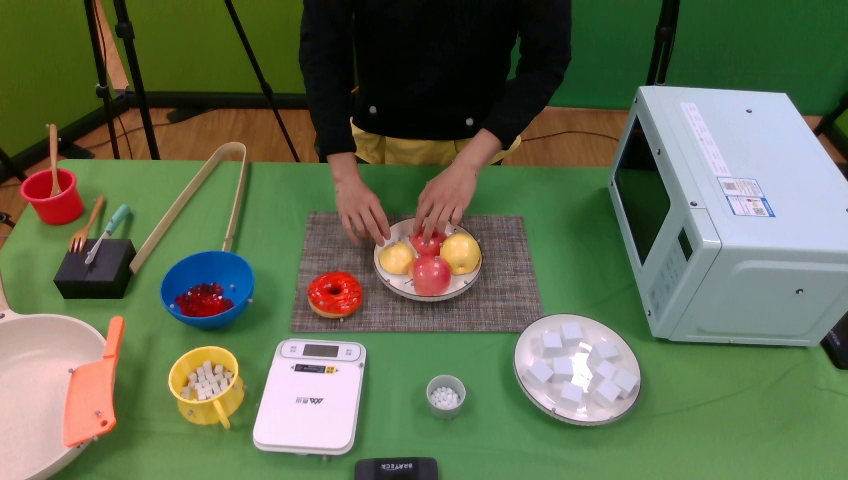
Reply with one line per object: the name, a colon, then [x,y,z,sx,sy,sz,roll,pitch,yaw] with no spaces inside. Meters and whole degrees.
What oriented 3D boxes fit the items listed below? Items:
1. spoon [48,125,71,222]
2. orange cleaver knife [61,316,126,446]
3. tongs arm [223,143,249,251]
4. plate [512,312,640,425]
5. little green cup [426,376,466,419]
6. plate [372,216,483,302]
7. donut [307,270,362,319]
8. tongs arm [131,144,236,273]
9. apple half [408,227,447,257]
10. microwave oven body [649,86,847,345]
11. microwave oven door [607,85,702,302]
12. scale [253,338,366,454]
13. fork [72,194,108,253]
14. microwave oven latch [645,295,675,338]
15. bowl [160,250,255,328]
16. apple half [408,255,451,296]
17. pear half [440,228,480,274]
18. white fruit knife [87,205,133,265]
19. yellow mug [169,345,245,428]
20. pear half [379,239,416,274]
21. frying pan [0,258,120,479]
spoon: [-0.718,-0.131,1.188,0.041,0.021,0.193,-3,90,-7]
orange cleaver knife: [-0.480,0.199,0.888,0.077,0.012,0.210,-8,46,-9]
tongs arm: [-0.397,-0.073,1.232,0.051,0.026,0.382,-2,45,0]
plate: [0.246,0.213,0.999,0.208,0.039,0.206,2,46,-2]
little green cup: [0.033,0.248,0.950,0.061,0.039,0.061,2,46,-2]
plate: [0.006,0.038,1.145,0.209,0.038,0.208,2,46,-2]
donut: [-0.158,0.097,1.073,0.099,0.048,0.098,4,45,-4]
tongs arm: [-0.483,-0.078,1.235,0.028,0.028,0.385,6,45,13]
apple half: [0.011,-0.005,1.176,0.081,0.033,0.081,2,48,-2]
microwave oven body: [0.567,-0.053,1.118,0.326,0.261,0.439,2,45,-1]
microwave oven door: [0.423,-0.094,1.140,0.039,0.245,0.353,2,46,-1]
scale: [-0.175,0.236,0.951,0.149,0.032,0.199,4,45,-1]
fork: [-0.634,-0.036,1.158,0.028,0.019,0.206,-8,31,-8]
microwave oven latch: [0.411,0.134,1.061,0.030,0.029,0.078,3,45,0]
bowl: [-0.362,0.098,1.040,0.151,0.077,0.150,2,45,-2]
apple half: [0.012,0.058,1.103,0.075,0.053,0.080,-6,43,-13]
pear half: [0.065,0.006,1.150,0.076,0.056,0.109,-10,44,-1]
white fruit knife: [-0.584,-0.013,1.129,0.016,0.027,0.206,-1,32,-4]
yellow mug: [-0.322,0.230,0.922,0.100,0.064,0.130,-24,53,-25]
pear half: [-0.048,0.025,1.145,0.070,0.031,0.087,11,50,-12]
frying pan: [-0.647,0.164,0.936,0.307,0.103,0.485,-19,58,-22]
